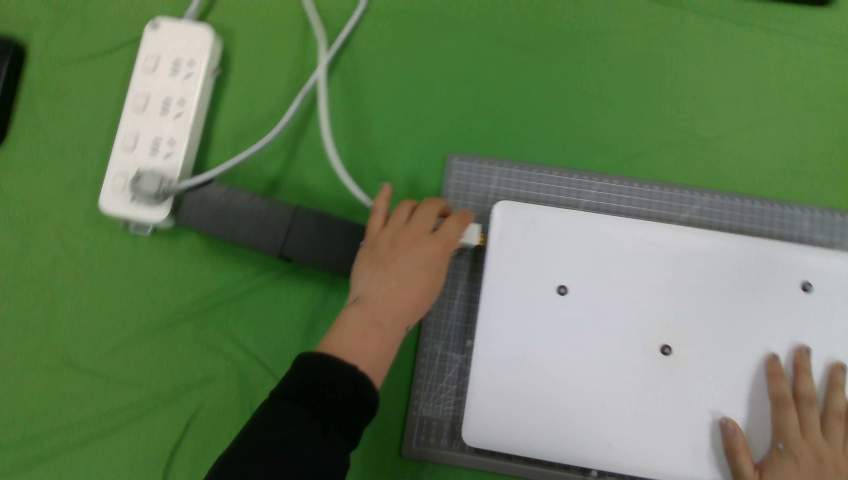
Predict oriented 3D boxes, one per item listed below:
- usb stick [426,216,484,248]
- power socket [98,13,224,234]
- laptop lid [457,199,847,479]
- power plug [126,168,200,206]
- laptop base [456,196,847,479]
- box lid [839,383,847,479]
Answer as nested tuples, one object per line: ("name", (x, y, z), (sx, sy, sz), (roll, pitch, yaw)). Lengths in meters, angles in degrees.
("usb stick", (0.032, -0.006, 0.579), (0.059, 0.027, 0.021), (9, 75, -7))
("power socket", (-0.257, -0.119, 0.599), (0.072, 0.032, 0.226), (11, 81, 1))
("laptop lid", (0.219, 0.099, 0.564), (0.357, 0.013, 0.241), (10, 85, 1))
("power plug", (-0.244, -0.043, 0.568), (0.072, 0.053, 0.035), (25, 80, 2))
("laptop base", (0.220, 0.098, 0.574), (0.354, 0.023, 0.235), (9, 86, 1))
("box lid", (0.513, 0.251, 0.556), (0.263, 0.015, 0.370), (8, 82, 0))
